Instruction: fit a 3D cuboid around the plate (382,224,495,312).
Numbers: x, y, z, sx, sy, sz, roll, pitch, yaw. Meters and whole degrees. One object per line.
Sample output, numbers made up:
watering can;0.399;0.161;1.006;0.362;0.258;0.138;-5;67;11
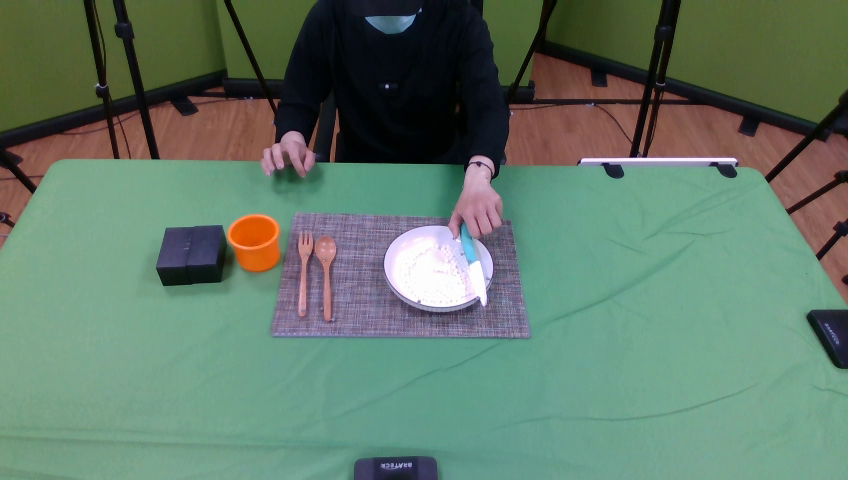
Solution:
plate;0.026;0.055;1.128;0.209;0.038;0.208;2;46;-2

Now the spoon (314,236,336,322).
spoon;-0.180;0.068;1.111;0.042;0.022;0.192;10;43;-20

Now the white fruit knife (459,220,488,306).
white fruit knife;0.091;0.039;1.118;0.027;0.016;0.206;-1;47;-11

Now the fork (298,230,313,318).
fork;-0.222;0.058;1.121;0.028;0.019;0.206;2;44;-10
